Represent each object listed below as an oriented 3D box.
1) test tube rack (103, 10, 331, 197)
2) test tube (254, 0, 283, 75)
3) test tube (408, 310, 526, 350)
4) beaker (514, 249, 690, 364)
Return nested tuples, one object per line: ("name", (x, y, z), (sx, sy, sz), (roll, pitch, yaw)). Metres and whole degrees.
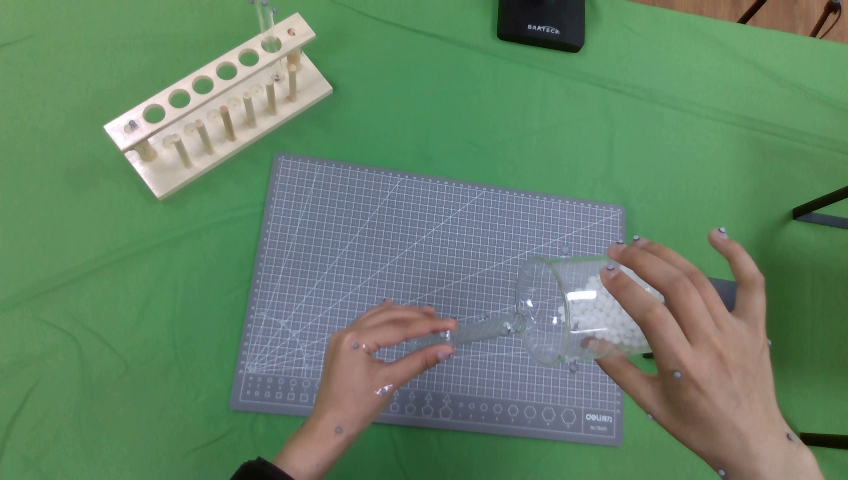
("test tube rack", (-0.222, -0.154, 0.686), (0.242, 0.085, 0.066), (-37, 85, -16))
("test tube", (-0.169, -0.226, 0.662), (0.017, 0.151, 0.017), (2, 73, -6))
("test tube", (0.029, 0.076, 0.500), (0.017, 0.150, 0.017), (10, 70, -31))
("beaker", (0.122, 0.044, 0.420), (0.100, 0.084, 0.073), (-3, 71, -17))
